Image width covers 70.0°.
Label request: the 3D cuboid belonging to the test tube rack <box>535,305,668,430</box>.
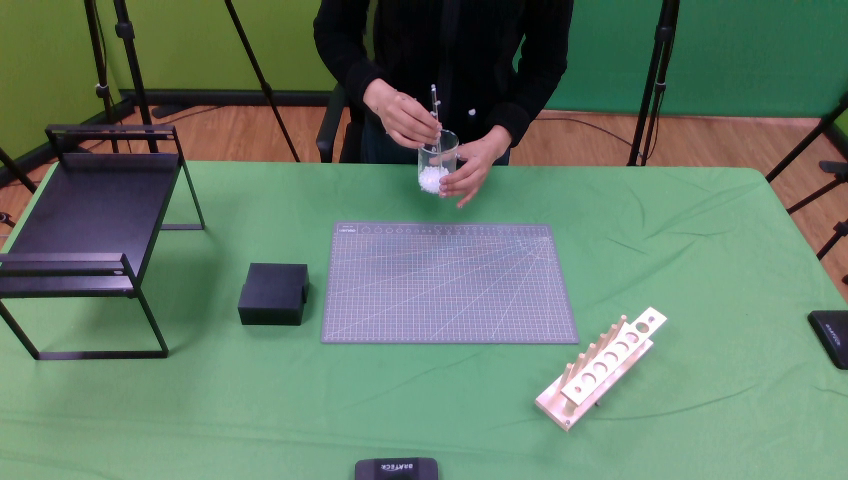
[{"bbox_3d":[0.290,0.193,0.984,0.242,0.085,0.066,-32,57,-30],"label":"test tube rack"}]

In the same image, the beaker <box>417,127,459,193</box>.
[{"bbox_3d":[0.024,-0.144,1.096,0.074,0.101,0.083,2,46,1],"label":"beaker"}]

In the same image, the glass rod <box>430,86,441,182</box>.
[{"bbox_3d":[0.021,-0.177,1.044,0.008,0.201,0.008,-3,47,3],"label":"glass rod"}]
